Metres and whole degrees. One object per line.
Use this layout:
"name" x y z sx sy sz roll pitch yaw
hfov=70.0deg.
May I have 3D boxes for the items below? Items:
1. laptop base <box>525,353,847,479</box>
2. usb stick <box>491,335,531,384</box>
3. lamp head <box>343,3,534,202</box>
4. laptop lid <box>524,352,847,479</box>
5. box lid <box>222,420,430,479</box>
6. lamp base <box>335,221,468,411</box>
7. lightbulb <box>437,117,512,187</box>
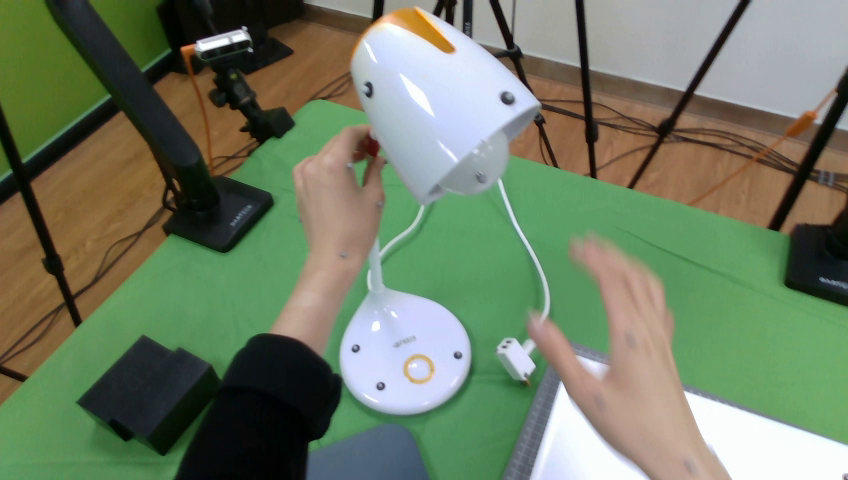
"laptop base" 0.285 0.269 0.616 0.353 0.023 0.234 17 56 15
"usb stick" 0.106 0.142 0.711 0.027 0.059 0.021 -41 16 -32
"lamp head" -0.001 -0.104 0.437 0.112 0.113 0.122 -39 82 -27
"laptop lid" 0.283 0.263 0.605 0.355 0.013 0.240 18 55 17
"box lid" -0.080 0.362 0.554 0.264 0.015 0.367 -18 52 -13
"lamp base" -0.037 0.075 0.685 0.161 0.182 0.177 -30 52 -22
"lightbulb" 0.026 -0.091 0.426 0.059 0.059 0.107 -14 90 -10
